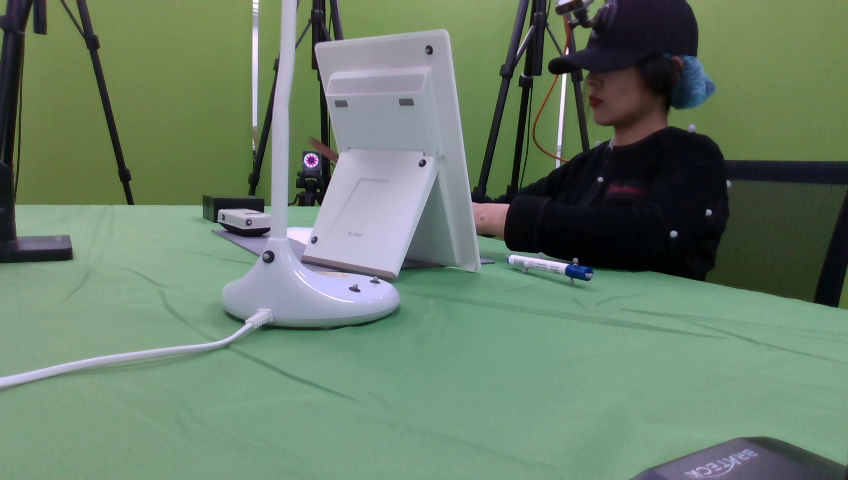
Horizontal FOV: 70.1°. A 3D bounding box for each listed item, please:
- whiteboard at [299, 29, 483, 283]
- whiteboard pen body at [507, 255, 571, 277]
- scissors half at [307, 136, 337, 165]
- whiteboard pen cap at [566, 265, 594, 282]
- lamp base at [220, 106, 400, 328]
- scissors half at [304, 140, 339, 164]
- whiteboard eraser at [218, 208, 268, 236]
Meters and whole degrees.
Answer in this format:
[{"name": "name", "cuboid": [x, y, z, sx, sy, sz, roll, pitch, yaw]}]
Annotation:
[{"name": "whiteboard", "cuboid": [-0.074, -0.082, 0.742, 0.216, 0.305, 0.144, 9, 29, 38]}, {"name": "whiteboard pen body", "cuboid": [0.155, 0.034, 0.772, 0.017, 0.017, 0.140, -2, 7, -31]}, {"name": "scissors half", "cuboid": [-0.183, -0.155, 1.260, 0.176, 0.040, 0.013, 47, 6, -34]}, {"name": "whiteboard pen cap", "cuboid": [0.185, 0.040, 0.722, 0.018, 0.018, 0.033, -3, 6, -33]}, {"name": "lamp base", "cuboid": [-0.101, -0.023, 0.531, 0.160, 0.180, 0.179, 4, 10, 10]}, {"name": "scissors half", "cuboid": [-0.169, -0.171, 1.254, 0.176, 0.040, 0.012, 20, 25, -28]}, {"name": "whiteboard eraser", "cuboid": [-0.309, -0.031, 1.044, 0.056, 0.042, 0.112, -2, 9, -40]}]
